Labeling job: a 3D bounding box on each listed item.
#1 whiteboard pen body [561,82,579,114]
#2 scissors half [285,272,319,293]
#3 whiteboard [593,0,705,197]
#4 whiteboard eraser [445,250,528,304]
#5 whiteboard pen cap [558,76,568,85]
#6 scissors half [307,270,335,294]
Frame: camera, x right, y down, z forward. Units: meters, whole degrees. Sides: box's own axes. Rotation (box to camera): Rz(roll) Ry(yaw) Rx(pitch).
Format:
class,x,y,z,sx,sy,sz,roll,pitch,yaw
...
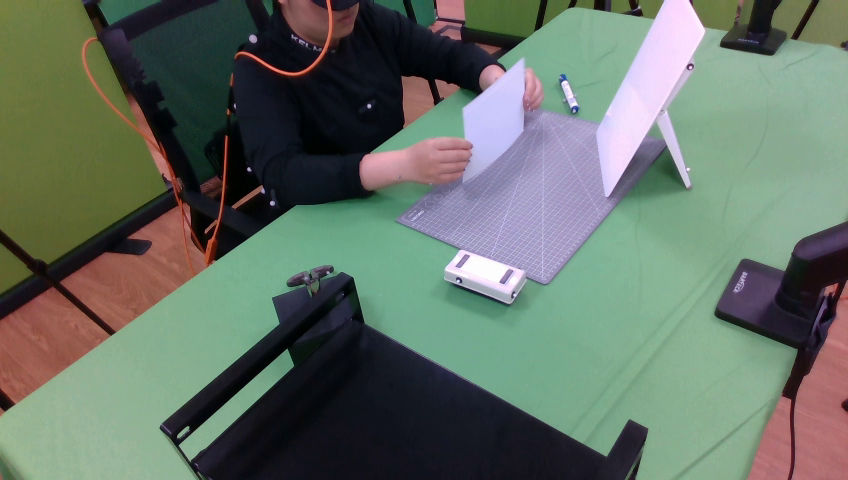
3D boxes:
class,x,y,z,sx,sy,sz,roll,pitch,yaw
whiteboard pen body,0.311,-0.311,1.297,0.017,0.017,0.140,-6,41,3
scissors half,-0.171,0.063,0.868,0.040,0.013,0.174,-13,8,-21
whiteboard,0.421,-0.227,1.009,0.144,0.305,0.216,17,41,-3
whiteboard eraser,0.090,0.056,0.882,0.112,0.042,0.056,17,44,27
whiteboard pen cap,0.310,-0.350,1.340,0.018,0.018,0.033,-6,41,2
scissors half,-0.151,0.061,0.872,0.040,0.013,0.175,-5,6,-4
